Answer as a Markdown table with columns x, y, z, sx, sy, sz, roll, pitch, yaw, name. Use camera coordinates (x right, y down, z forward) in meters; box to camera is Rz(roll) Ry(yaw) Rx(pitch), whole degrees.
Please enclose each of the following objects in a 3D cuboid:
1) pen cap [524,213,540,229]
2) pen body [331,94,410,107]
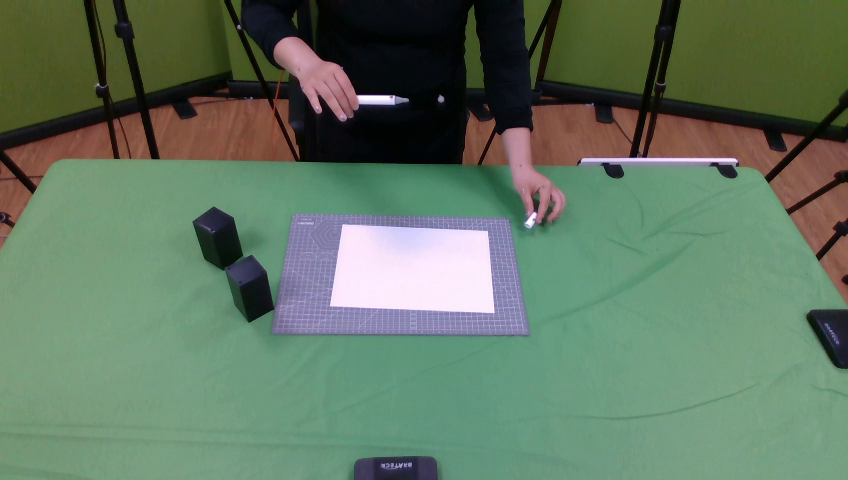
| x | y | z | sx | sy | sz | roll | pitch | yaw | name |
| --- | --- | --- | --- | --- | --- | --- | --- | --- | --- |
| 0.220 | -0.039 | 1.234 | 0.017 | 0.017 | 0.038 | 36 | 63 | 27 | pen cap |
| -0.097 | -0.255 | 1.105 | 0.144 | 0.017 | 0.017 | -3 | 45 | 5 | pen body |
